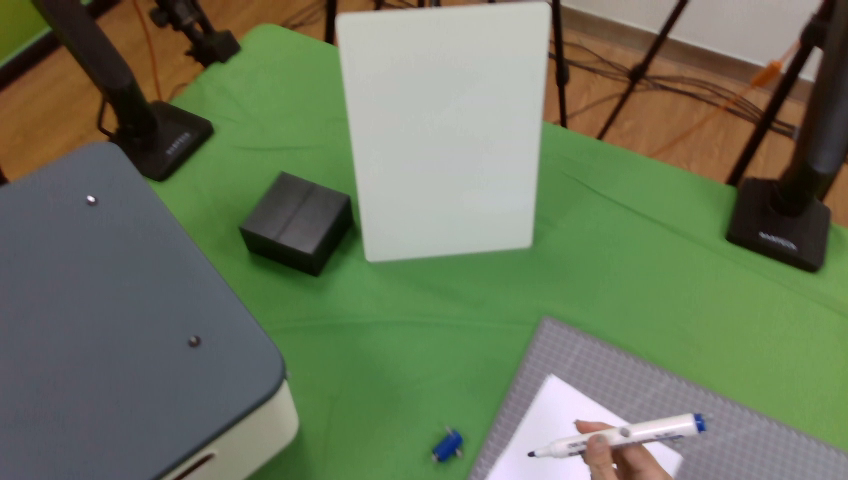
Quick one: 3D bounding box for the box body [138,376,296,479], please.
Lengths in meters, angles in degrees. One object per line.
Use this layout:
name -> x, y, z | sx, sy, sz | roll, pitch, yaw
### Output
box body -> -0.327, 0.111, 0.606 | 0.254, 0.162, 0.361 | -35, 63, -23

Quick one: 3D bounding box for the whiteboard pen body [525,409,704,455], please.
whiteboard pen body -> 0.144, 0.153, 0.471 | 0.140, 0.017, 0.017 | -20, 50, 24

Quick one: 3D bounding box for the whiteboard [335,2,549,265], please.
whiteboard -> 0.018, -0.142, 0.742 | 0.217, 0.308, 0.142 | -5, 36, -4

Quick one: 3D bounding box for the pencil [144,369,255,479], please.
pencil -> -0.243, 0.205, 0.625 | 0.012, 0.012, 0.193 | 26, 48, 17

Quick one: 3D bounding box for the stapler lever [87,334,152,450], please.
stapler lever -> -0.315, 0.152, 0.623 | 0.027, 0.040, 0.117 | -4, 55, 20

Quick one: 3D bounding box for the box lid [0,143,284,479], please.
box lid -> -0.327, 0.068, 0.546 | 0.263, 0.015, 0.368 | -35, 63, -23

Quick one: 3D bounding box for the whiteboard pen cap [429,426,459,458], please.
whiteboard pen cap -> 0.022, 0.210, 0.632 | 0.033, 0.018, 0.018 | -37, 63, -24

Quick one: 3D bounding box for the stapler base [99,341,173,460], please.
stapler base -> -0.309, 0.164, 0.642 | 0.041, 0.025, 0.129 | -4, 57, 20
